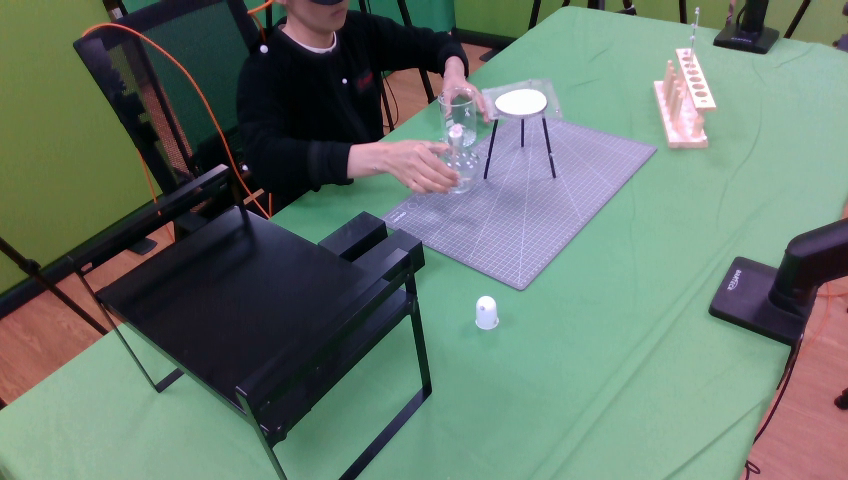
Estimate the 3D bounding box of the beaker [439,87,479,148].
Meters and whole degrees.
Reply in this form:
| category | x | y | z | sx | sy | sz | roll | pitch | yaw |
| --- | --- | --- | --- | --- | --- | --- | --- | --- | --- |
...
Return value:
| category | x | y | z | sx | sy | sz | roll | pitch | yaw |
| --- | --- | --- | --- | --- | --- | --- | --- | --- | --- |
| beaker | 0.072 | -0.239 | 1.184 | 0.073 | 0.101 | 0.084 | 29 | 52 | 35 |

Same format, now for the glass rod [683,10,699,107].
| category | x | y | z | sx | sy | sz | roll | pitch | yaw |
| --- | --- | --- | --- | --- | --- | --- | --- | --- | --- |
| glass rod | 0.501 | -0.335 | 1.138 | 0.008 | 0.201 | 0.008 | -7 | 45 | 7 |

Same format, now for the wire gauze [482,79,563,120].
| category | x | y | z | sx | sy | sz | roll | pitch | yaw |
| --- | --- | --- | --- | --- | --- | --- | --- | --- | --- |
| wire gauze | 0.166 | -0.239 | 1.035 | 0.125 | 0.011 | 0.121 | -5 | 42 | 3 |

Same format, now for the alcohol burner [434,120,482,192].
| category | x | y | z | sx | sy | sz | roll | pitch | yaw |
| --- | --- | --- | --- | --- | --- | --- | --- | --- | --- |
| alcohol burner | 0.053 | -0.137 | 0.969 | 0.078 | 0.119 | 0.077 | -3 | 42 | 3 |

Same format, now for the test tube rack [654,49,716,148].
| category | x | y | z | sx | sy | sz | roll | pitch | yaw |
| --- | --- | --- | --- | --- | --- | --- | --- | --- | --- |
| test tube rack | 0.502 | -0.280 | 1.176 | 0.066 | 0.085 | 0.241 | 1 | 41 | 11 |

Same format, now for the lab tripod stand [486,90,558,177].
| category | x | y | z | sx | sy | sz | roll | pitch | yaw |
| --- | --- | --- | --- | --- | --- | --- | --- | --- | --- |
| lab tripod stand | 0.173 | -0.185 | 1.075 | 0.148 | 0.132 | 0.147 | -5 | 43 | 5 |

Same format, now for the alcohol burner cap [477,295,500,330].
| category | x | y | z | sx | sy | sz | roll | pitch | yaw |
| --- | --- | --- | --- | --- | --- | --- | --- | --- | --- |
| alcohol burner cap | 0.089 | 0.097 | 0.833 | 0.034 | 0.048 | 0.033 | -4 | 42 | 4 |
